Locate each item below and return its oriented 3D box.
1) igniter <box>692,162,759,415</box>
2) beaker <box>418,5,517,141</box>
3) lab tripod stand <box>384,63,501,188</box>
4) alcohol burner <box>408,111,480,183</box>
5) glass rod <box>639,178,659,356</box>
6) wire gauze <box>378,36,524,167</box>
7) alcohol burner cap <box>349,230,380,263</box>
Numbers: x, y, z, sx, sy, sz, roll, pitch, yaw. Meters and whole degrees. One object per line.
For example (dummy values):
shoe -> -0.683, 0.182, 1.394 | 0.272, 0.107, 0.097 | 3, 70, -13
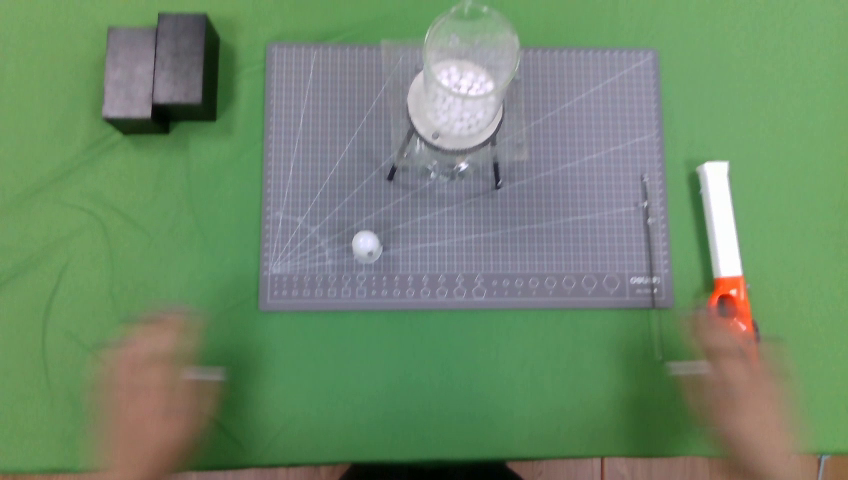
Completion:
igniter -> 0.330, 0.049, 0.665 | 0.057, 0.025, 0.275 | -2, 81, -14
beaker -> 0.031, -0.133, 0.504 | 0.074, 0.100, 0.083 | -4, 79, -3
lab tripod stand -> 0.022, -0.113, 0.616 | 0.148, 0.132, 0.148 | 0, 80, -1
alcohol burner -> 0.021, -0.102, 0.625 | 0.078, 0.119, 0.077 | 0, 79, -1
glass rod -> 0.248, 0.028, 0.670 | 0.008, 0.008, 0.199 | -1, 81, -4
wire gauze -> 0.024, -0.126, 0.552 | 0.125, 0.011, 0.121 | -5, 79, -2
alcohol burner cap -> -0.064, 0.005, 0.640 | 0.034, 0.048, 0.033 | 1, 81, -3
